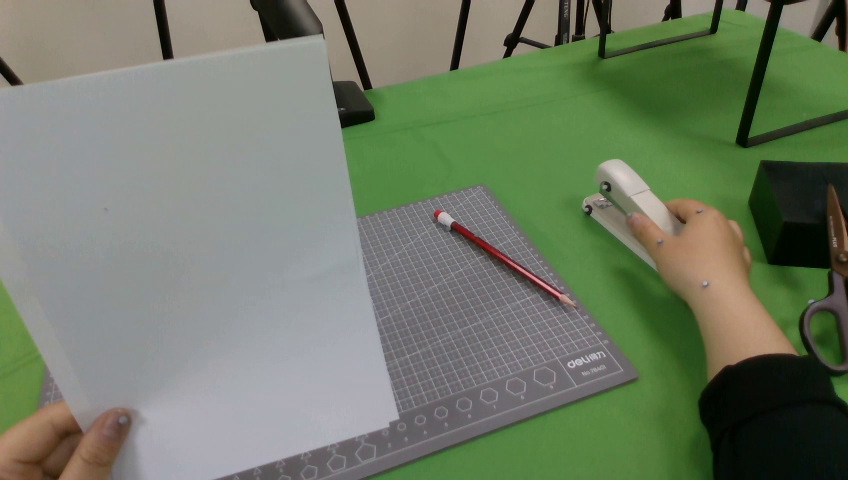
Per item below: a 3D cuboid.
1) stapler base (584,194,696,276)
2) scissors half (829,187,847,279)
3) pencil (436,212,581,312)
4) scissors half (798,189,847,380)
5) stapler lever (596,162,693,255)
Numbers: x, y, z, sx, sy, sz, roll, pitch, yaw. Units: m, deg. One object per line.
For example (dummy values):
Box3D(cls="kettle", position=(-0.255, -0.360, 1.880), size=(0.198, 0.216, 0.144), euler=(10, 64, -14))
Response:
Box3D(cls="stapler base", position=(0.208, -0.015, 0.595), size=(0.041, 0.024, 0.129), euler=(-19, 42, -15))
Box3D(cls="scissors half", position=(0.350, 0.030, 0.483), size=(0.040, 0.013, 0.173), euler=(-4, 59, 13))
Box3D(cls="pencil", position=(0.074, 0.017, 0.577), size=(0.012, 0.012, 0.192), euler=(-29, 45, -27))
Box3D(cls="scissors half", position=(0.331, 0.029, 0.490), size=(0.040, 0.013, 0.174), euler=(9, 63, 26))
Box3D(cls="stapler lever", position=(0.208, -0.034, 0.578), size=(0.027, 0.040, 0.116), euler=(-19, 42, -15))
